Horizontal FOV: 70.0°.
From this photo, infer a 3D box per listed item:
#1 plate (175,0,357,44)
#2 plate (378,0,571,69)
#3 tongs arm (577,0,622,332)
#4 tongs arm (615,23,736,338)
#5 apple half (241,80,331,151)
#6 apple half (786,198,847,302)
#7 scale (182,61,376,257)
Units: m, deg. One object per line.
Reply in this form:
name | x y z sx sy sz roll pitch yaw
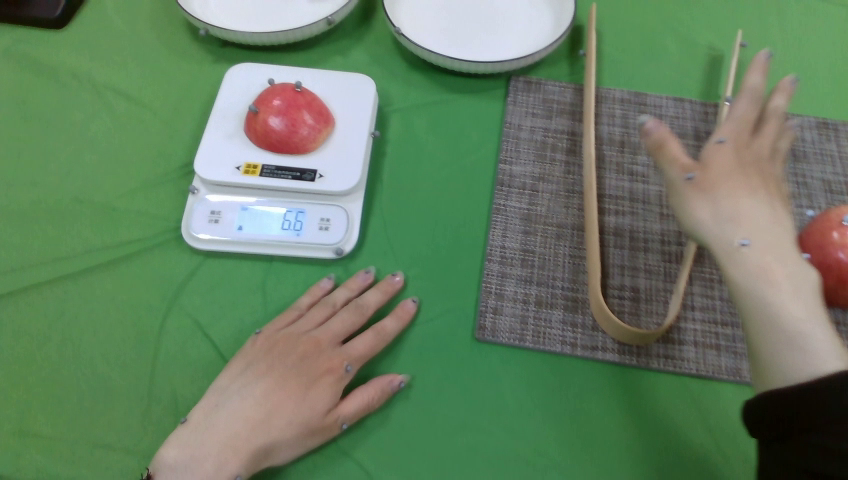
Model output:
plate | -0.169 -0.285 0.670 0.208 0.039 0.205 1 59 -1
plate | 0.054 -0.256 0.661 0.209 0.038 0.207 1 58 -2
tongs arm | 0.159 -0.096 0.570 0.028 0.028 0.384 8 59 -1
tongs arm | 0.241 -0.077 0.559 0.050 0.027 0.382 19 60 9
apple half | -0.122 -0.117 0.538 0.081 0.033 0.080 1 58 -1
apple half | 0.324 0.015 0.482 0.053 0.075 0.080 -26 66 -12
scale | -0.126 -0.079 0.550 0.149 0.032 0.199 4 59 0
